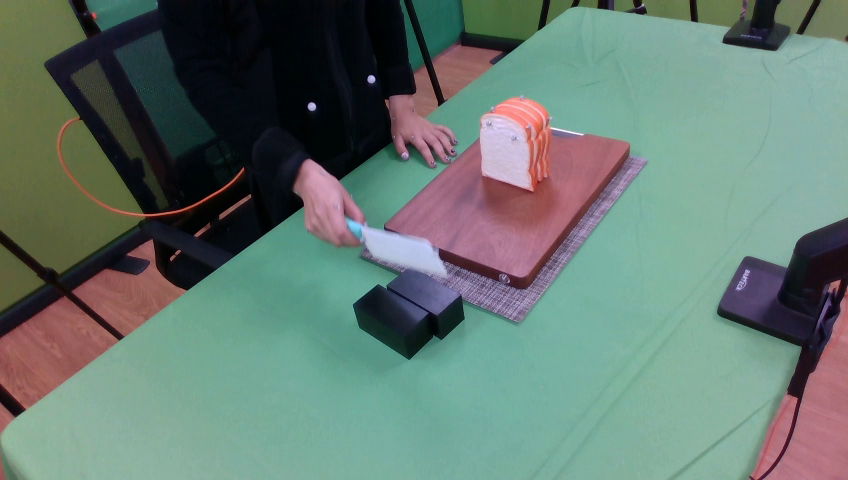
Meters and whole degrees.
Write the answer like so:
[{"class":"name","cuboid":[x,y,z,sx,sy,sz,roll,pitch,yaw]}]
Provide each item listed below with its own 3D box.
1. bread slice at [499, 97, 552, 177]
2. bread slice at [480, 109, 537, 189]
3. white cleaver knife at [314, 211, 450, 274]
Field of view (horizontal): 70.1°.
[{"class":"bread slice","cuboid":[0.173,-0.179,1.034,0.104,0.132,0.019,24,46,31]},{"class":"bread slice","cuboid":[0.138,-0.154,1.008,0.106,0.135,0.018,19,49,35]},{"class":"white cleaver knife","cuboid":[-0.070,0.003,0.833,0.021,0.066,0.284,-40,33,-26]}]
